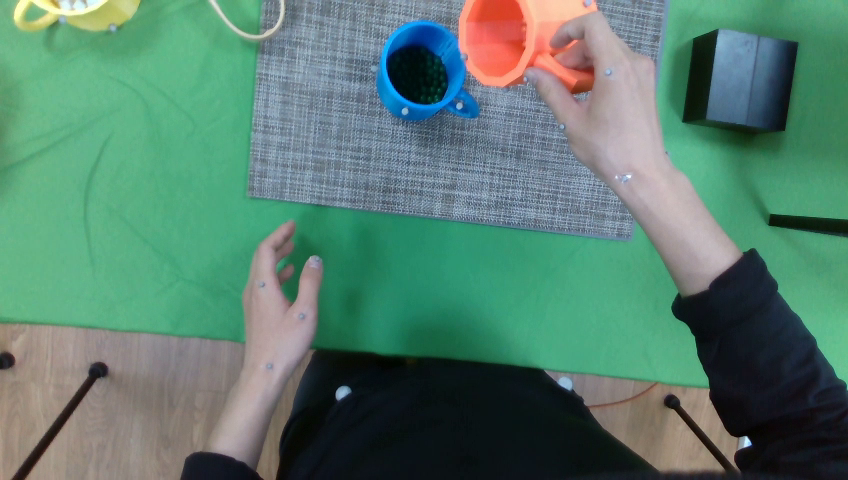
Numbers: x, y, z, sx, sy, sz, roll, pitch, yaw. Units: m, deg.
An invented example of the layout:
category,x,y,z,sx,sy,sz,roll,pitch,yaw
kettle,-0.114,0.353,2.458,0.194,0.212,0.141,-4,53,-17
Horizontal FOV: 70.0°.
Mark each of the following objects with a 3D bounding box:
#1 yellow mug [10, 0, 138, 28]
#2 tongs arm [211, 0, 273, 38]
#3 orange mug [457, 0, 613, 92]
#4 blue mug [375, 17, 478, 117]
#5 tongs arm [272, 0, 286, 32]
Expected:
category,x,y,z,sx,sy,sz,roll,pitch,yaw
yellow mug,-0.348,-0.254,0.587,0.131,0.063,0.100,-45,101,0
tongs arm,-0.274,-0.365,0.579,0.051,0.026,0.387,-33,107,-6
orange mug,0.102,-0.175,0.530,0.101,0.084,0.125,-16,57,-37
blue mug,0.006,-0.165,0.625,0.117,0.105,0.082,32,91,-10
tongs arm,-0.199,-0.404,0.588,0.028,0.027,0.389,-20,106,-14
